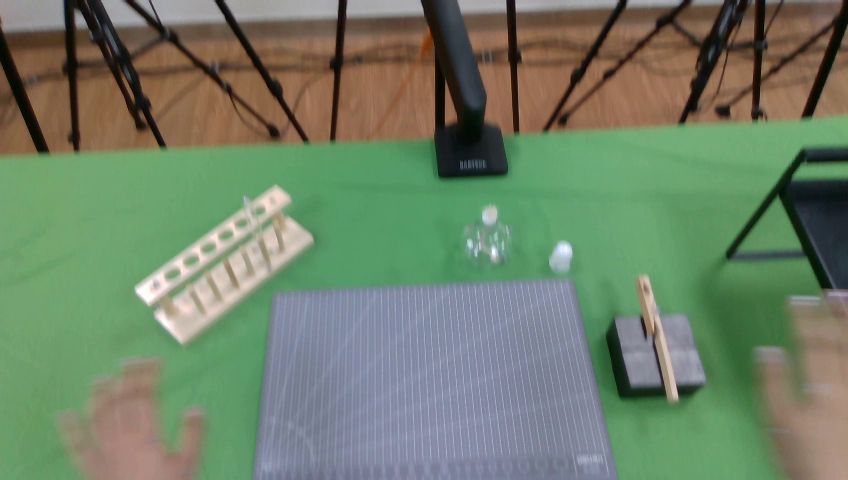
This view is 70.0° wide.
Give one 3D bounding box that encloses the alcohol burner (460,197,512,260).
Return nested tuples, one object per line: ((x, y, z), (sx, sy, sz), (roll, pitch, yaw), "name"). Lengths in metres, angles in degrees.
((0.093, -0.023, 0.893), (0.078, 0.120, 0.077), (1, 56, -1), "alcohol burner")

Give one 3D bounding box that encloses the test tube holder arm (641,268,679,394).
((0.310, 0.117, 0.805), (0.013, 0.015, 0.176), (1, 58, -9), "test tube holder arm")

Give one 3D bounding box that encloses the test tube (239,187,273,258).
((-0.235, -0.023, 0.849), (0.017, 0.151, 0.017), (0, 54, 0), "test tube")

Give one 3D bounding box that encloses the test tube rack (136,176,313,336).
((-0.278, 0.020, 0.874), (0.066, 0.086, 0.242), (37, 64, 21), "test tube rack")

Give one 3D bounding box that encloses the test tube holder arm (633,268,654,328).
((0.302, 0.079, 0.828), (0.010, 0.015, 0.087), (2, 57, -8), "test tube holder arm")

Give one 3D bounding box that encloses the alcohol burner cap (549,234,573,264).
((0.208, 0.011, 0.915), (0.034, 0.048, 0.033), (0, 56, 0), "alcohol burner cap")
